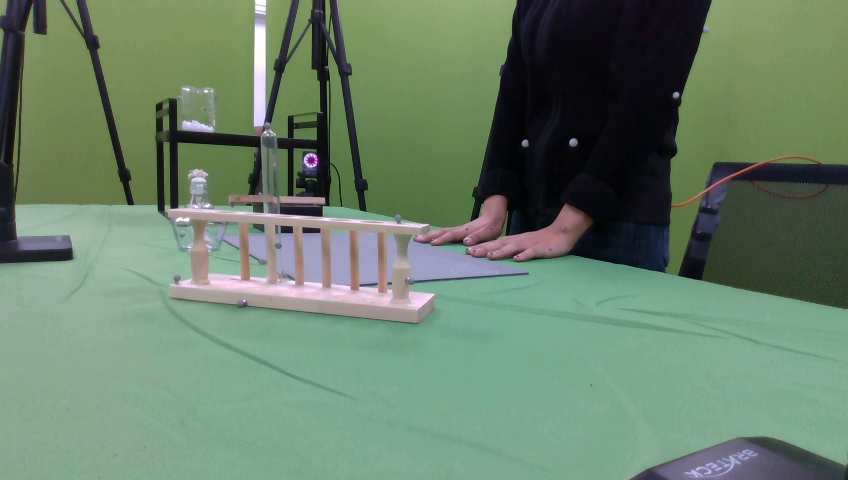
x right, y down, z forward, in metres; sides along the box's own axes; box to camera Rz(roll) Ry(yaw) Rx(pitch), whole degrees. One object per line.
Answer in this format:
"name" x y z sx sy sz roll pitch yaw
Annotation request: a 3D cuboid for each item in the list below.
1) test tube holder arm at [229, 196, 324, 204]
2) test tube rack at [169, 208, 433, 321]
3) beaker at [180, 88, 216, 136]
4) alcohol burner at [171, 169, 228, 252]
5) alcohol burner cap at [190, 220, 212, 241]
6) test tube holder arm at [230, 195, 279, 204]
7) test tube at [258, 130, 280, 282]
"test tube holder arm" -0.275 -0.076 1.143 0.179 0.015 0.013 -1 0 -32
"test tube rack" -0.115 0.018 0.574 0.242 0.085 0.067 4 8 14
"beaker" -0.498 -0.283 1.339 0.074 0.100 0.083 -2 9 -28
"alcohol burner" -0.325 -0.043 0.875 0.078 0.119 0.078 0 7 0
"alcohol burner cap" -0.365 -0.023 0.988 0.034 0.048 0.034 2 7 0
"test tube holder arm" -0.311 -0.075 1.115 0.088 0.015 0.010 -1 0 -31
"test tube" -0.152 -0.032 0.596 0.017 0.150 0.017 0 9 0
